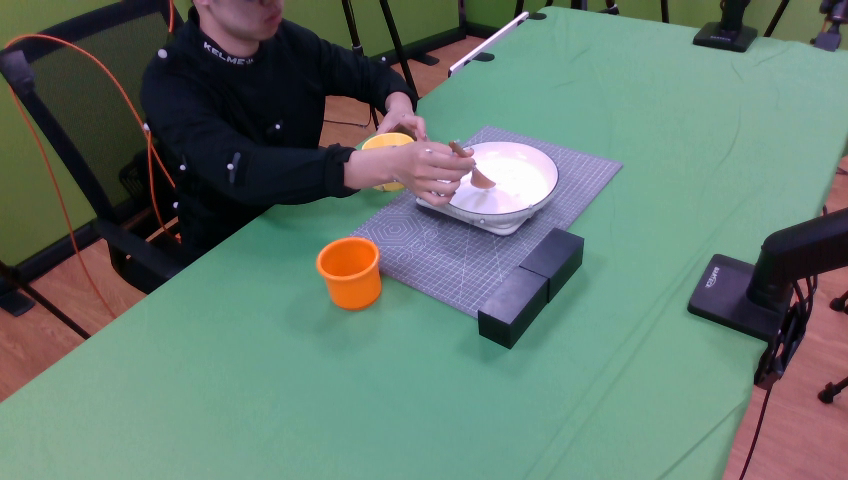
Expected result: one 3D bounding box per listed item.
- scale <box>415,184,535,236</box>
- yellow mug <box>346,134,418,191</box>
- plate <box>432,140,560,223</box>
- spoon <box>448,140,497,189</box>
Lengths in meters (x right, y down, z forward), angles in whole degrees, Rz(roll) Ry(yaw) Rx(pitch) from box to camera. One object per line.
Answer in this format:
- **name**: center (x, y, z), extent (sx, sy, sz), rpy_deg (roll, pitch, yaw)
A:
- **scale**: center (0.099, -0.079, 1.035), extent (0.199, 0.032, 0.149), rpy_deg (23, 48, 31)
- **yellow mug**: center (-0.079, -0.142, 1.115), extent (0.131, 0.064, 0.099), rpy_deg (-6, 39, 2)
- **plate**: center (0.118, -0.094, 0.999), extent (0.209, 0.038, 0.208), rpy_deg (-5, 41, 4)
- **spoon**: center (0.069, -0.112, 0.905), extent (0.041, 0.195, 0.021), rpy_deg (2, 74, 23)
